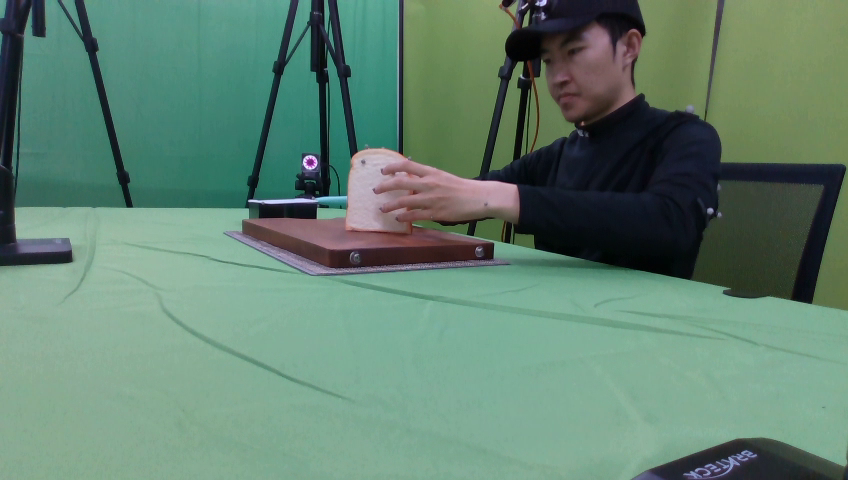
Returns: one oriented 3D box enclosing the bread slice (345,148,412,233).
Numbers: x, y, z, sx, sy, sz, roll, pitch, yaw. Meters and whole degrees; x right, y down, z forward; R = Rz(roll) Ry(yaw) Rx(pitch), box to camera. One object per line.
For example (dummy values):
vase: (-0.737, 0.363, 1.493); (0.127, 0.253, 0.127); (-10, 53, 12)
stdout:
bread slice: (-0.072, -0.077, 0.954); (0.107, 0.134, 0.018); (0, 8, 4)

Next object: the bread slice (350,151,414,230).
bread slice: (-0.066, -0.083, 1.006); (0.105, 0.131, 0.019); (5, 1, 3)

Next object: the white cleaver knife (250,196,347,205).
white cleaver knife: (-0.257, -0.087, 1.306); (0.065, 0.021, 0.288); (7, 7, 30)
